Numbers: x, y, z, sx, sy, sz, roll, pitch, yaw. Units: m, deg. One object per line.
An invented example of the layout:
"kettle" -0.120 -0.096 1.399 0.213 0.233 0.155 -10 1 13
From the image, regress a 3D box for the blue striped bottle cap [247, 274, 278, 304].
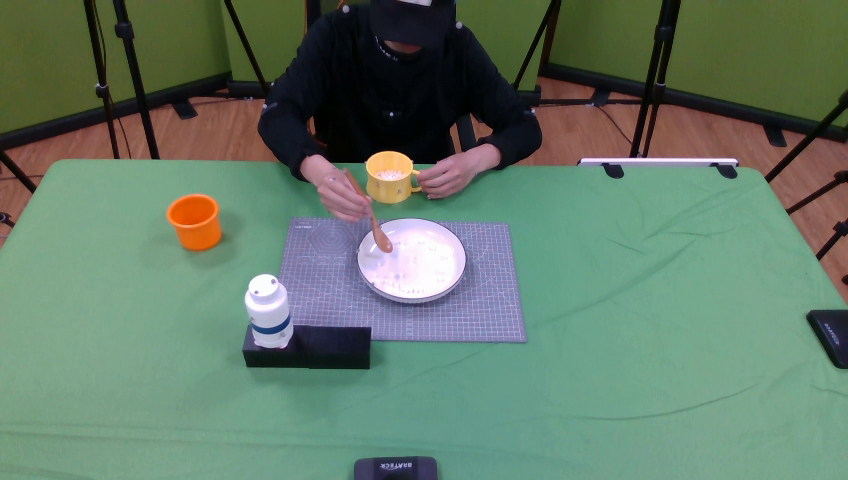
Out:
"blue striped bottle cap" -0.239 0.072 0.900 0.044 0.021 0.044 4 46 -4

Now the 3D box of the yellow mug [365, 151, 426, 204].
"yellow mug" -0.061 -0.132 1.290 0.131 0.064 0.099 8 45 3

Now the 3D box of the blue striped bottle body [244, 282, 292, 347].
"blue striped bottle body" -0.241 0.108 0.937 0.063 0.121 0.062 2 46 -2

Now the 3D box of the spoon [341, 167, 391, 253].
"spoon" -0.103 -0.053 1.094 0.021 0.195 0.041 -7 36 21

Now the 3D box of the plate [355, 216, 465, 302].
"plate" -0.027 0.039 1.144 0.208 0.039 0.206 2 46 -2
